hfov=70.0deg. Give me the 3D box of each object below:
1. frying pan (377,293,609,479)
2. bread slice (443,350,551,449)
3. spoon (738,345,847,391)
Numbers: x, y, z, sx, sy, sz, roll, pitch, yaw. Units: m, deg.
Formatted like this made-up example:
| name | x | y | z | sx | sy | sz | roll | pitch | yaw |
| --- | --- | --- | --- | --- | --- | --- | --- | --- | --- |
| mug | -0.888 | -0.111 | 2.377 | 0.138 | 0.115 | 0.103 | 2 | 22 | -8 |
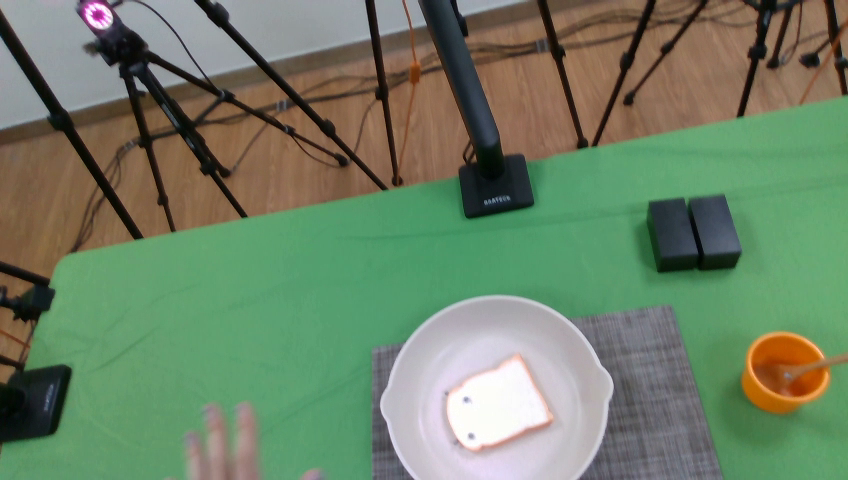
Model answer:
| name | x | y | z | sx | sy | sz | roll | pitch | yaw |
| --- | --- | --- | --- | --- | --- | --- | --- | --- | --- |
| frying pan | 0.091 | 0.293 | 0.754 | 0.306 | 0.104 | 0.483 | -8 | 49 | 11 |
| bread slice | 0.095 | 0.229 | 0.840 | 0.134 | 0.018 | 0.106 | -26 | 56 | -5 |
| spoon | 0.472 | 0.144 | 0.727 | 0.022 | 0.194 | 0.041 | 20 | 56 | -26 |
